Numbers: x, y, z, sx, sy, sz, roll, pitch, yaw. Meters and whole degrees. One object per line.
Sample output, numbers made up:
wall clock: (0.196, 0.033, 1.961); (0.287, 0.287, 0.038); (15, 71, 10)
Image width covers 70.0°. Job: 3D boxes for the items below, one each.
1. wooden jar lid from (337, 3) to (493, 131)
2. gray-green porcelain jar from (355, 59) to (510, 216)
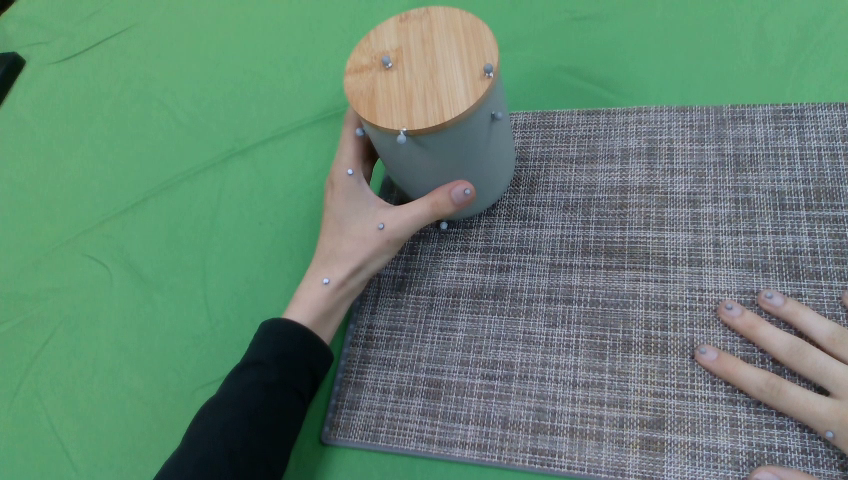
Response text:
wooden jar lid: (-0.005, -0.117, 0.417); (0.108, 0.021, 0.107); (-5, 64, 10)
gray-green porcelain jar: (0.010, -0.087, 0.470); (0.105, 0.128, 0.105); (-7, 60, 12)
